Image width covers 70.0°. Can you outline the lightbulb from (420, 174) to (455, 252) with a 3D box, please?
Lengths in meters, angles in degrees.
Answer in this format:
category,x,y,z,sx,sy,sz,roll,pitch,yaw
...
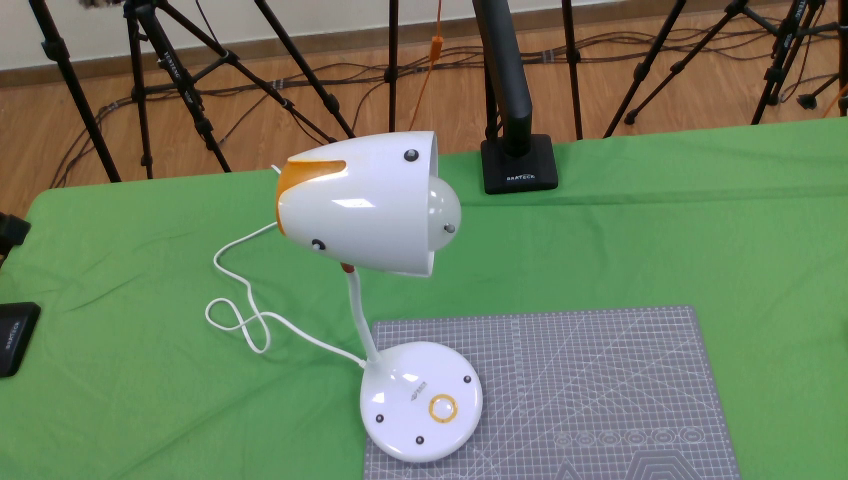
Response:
category,x,y,z,sx,sy,sz,roll,pitch,yaw
lightbulb,-0.031,-0.019,0.457,0.107,0.060,0.059,-3,56,7

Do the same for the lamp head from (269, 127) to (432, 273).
category,x,y,z,sx,sy,sz,roll,pitch,yaw
lamp head,-0.053,-0.029,0.464,0.123,0.113,0.111,-1,56,8

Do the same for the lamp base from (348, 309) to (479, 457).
category,x,y,z,sx,sy,sz,roll,pitch,yaw
lamp base,-0.029,0.155,0.732,0.178,0.182,0.160,17,59,22
